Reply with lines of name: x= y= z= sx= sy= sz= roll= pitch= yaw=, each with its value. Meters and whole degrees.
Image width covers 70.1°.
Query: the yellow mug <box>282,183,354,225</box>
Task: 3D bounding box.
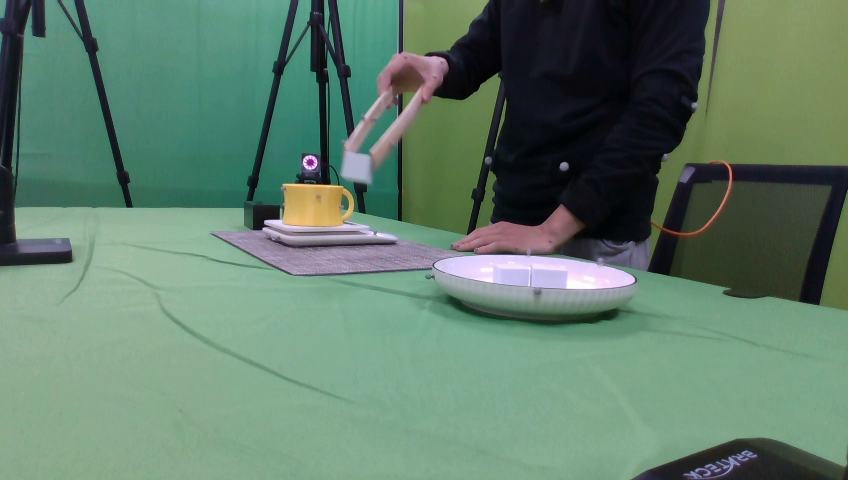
yellow mug: x=-0.172 y=-0.061 z=1.009 sx=0.131 sy=0.064 sz=0.099 roll=-2 pitch=7 yaw=-41

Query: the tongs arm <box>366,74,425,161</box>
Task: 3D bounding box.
tongs arm: x=-0.037 y=-0.194 z=0.904 sx=0.028 sy=0.028 sz=0.387 roll=-3 pitch=26 yaw=13

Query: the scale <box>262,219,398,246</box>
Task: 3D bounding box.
scale: x=-0.160 y=-0.016 z=1.028 sx=0.202 sy=0.031 sz=0.148 roll=-2 pitch=9 yaw=-32

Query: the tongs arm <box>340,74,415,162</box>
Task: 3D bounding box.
tongs arm: x=-0.060 y=-0.194 z=0.908 sx=0.051 sy=0.026 sz=0.384 roll=-2 pitch=27 yaw=7

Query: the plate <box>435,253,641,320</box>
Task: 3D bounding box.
plate: x=0.114 y=0.047 z=0.626 sx=0.208 sy=0.039 sz=0.207 roll=2 pitch=7 yaw=0
